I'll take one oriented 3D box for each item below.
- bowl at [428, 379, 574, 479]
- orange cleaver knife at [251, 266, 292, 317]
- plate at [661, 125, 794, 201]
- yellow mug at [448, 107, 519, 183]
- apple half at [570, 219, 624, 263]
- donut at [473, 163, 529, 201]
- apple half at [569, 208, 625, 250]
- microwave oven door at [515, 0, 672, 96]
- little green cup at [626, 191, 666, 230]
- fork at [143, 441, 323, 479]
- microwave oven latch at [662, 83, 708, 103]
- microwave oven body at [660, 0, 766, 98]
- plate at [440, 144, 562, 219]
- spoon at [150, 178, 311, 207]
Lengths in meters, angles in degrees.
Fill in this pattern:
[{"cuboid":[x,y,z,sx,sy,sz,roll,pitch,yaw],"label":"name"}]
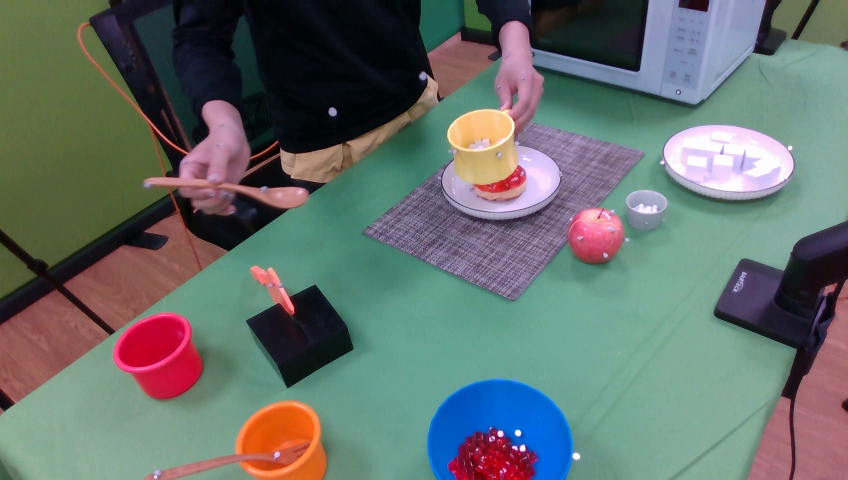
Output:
[{"cuboid":[0.082,0.233,0.644,0.151,0.077,0.150,-4,40,4],"label":"bowl"},{"cuboid":[-0.221,0.071,0.873,0.012,0.077,0.210,-25,11,-21],"label":"orange cleaver knife"},{"cuboid":[0.514,-0.128,1.035,0.207,0.039,0.206,-4,40,4],"label":"plate"},{"cuboid":[0.099,-0.152,0.907,0.099,0.064,0.131,28,59,34],"label":"yellow mug"},{"cuboid":[0.250,0.009,0.885,0.081,0.081,0.033,8,39,17],"label":"apple half"},{"cuboid":[0.132,-0.105,1.043,0.099,0.048,0.098,-5,38,4],"label":"donut"},{"cuboid":[0.262,-0.014,0.913,0.080,0.075,0.053,5,37,20],"label":"apple half"},{"cuboid":[0.344,-0.455,1.259,0.353,0.245,0.039,26,51,33],"label":"microwave oven door"},{"cuboid":[0.352,-0.046,0.963,0.061,0.039,0.061,-4,40,4],"label":"little green cup"},{"cuboid":[-0.189,0.231,0.631,0.028,0.018,0.209,35,13,37],"label":"fork"},{"cuboid":[0.518,-0.296,1.204,0.078,0.029,0.030,28,52,35],"label":"microwave oven latch"},{"cuboid":[0.472,-0.513,1.317,0.438,0.261,0.327,26,51,34],"label":"microwave oven body"},{"cuboid":[0.134,-0.098,1.051,0.209,0.038,0.208,-4,40,4],"label":"plate"},{"cuboid":[-0.240,-0.065,0.765,0.195,0.021,0.041,7,43,-26],"label":"spoon"}]
